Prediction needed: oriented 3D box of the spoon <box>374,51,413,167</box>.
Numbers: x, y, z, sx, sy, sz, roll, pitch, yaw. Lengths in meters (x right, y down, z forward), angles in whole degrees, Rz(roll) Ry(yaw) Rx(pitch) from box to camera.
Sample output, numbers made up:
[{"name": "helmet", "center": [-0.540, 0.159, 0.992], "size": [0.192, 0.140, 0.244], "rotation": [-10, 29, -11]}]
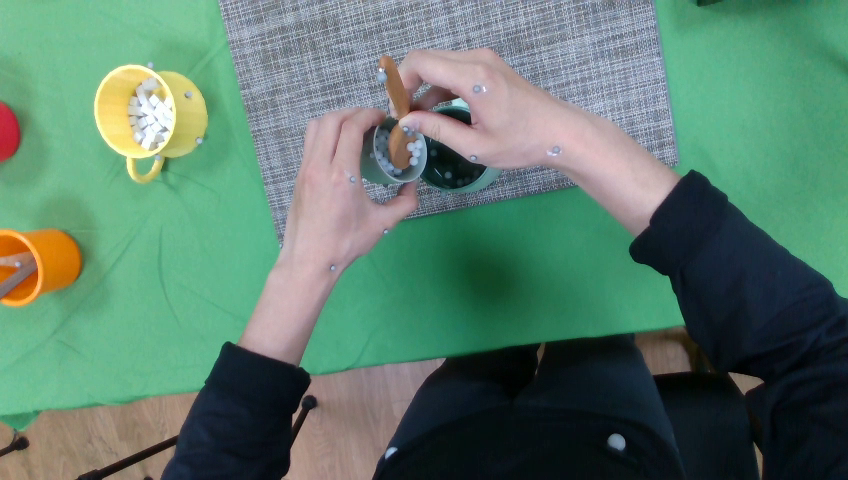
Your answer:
[{"name": "spoon", "center": [-0.021, -0.095, 0.453], "size": [0.021, 0.194, 0.041], "rotation": [22, 82, 2]}]

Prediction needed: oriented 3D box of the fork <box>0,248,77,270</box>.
[{"name": "fork", "center": [-0.528, 0.024, 0.712], "size": [0.208, 0.018, 0.028], "rotation": [-1, 100, -33]}]

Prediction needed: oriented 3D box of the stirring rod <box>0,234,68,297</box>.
[{"name": "stirring rod", "center": [-0.499, 0.055, 0.717], "size": [0.014, 0.006, 0.175], "rotation": [39, 62, 1]}]

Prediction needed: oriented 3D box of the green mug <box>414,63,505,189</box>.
[{"name": "green mug", "center": [0.033, -0.111, 0.603], "size": [0.092, 0.105, 0.125], "rotation": [6, 100, 10]}]

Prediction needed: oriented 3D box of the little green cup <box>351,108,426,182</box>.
[{"name": "little green cup", "center": [-0.033, -0.086, 0.540], "size": [0.038, 0.062, 0.061], "rotation": [42, 107, 36]}]

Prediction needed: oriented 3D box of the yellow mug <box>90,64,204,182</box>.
[{"name": "yellow mug", "center": [-0.314, -0.129, 0.688], "size": [0.100, 0.064, 0.131], "rotation": [14, 103, 7]}]
